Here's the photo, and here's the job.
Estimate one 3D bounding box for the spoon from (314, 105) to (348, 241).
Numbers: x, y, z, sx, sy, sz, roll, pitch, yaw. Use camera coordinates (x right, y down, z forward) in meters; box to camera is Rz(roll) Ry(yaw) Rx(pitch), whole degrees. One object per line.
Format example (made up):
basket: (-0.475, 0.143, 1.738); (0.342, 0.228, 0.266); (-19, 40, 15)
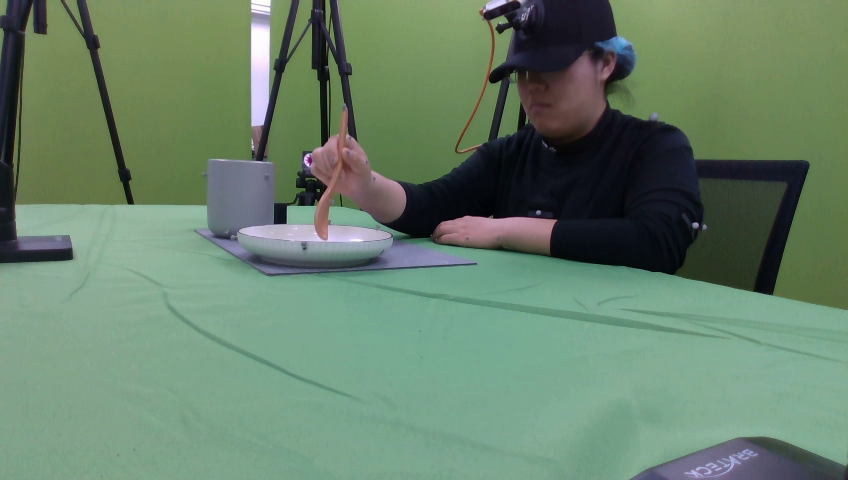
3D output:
spoon: (-0.123, -0.094, 0.827); (0.021, 0.193, 0.042); (10, -10, 14)

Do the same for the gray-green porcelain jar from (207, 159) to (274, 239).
gray-green porcelain jar: (-0.304, -0.068, 1.003); (0.106, 0.126, 0.106); (3, 7, 0)

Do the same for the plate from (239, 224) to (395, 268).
plate: (-0.144, 0.007, 0.823); (0.208, 0.039, 0.207); (3, 7, 0)
